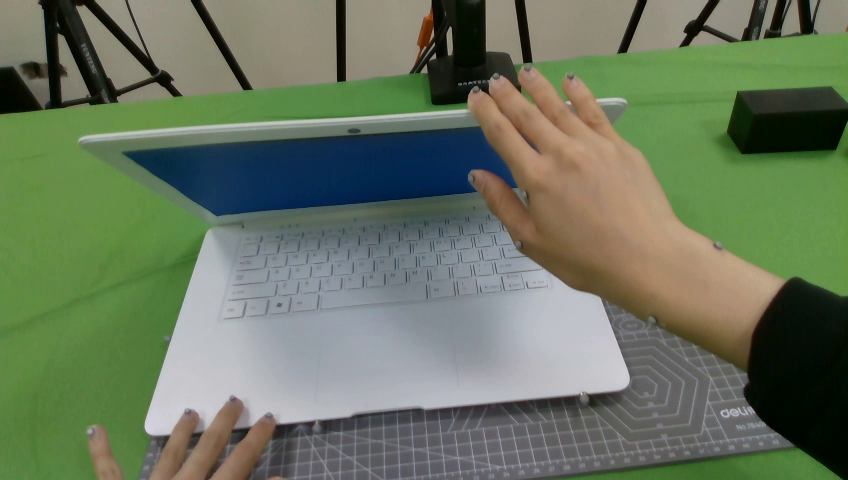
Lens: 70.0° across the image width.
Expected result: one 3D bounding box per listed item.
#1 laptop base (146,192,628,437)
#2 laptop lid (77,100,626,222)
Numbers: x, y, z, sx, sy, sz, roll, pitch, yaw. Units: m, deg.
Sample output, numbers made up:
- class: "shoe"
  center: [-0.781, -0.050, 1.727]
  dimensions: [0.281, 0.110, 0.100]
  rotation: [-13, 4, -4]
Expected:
- class: "laptop base"
  center: [-0.033, 0.051, 0.521]
  dimensions: [0.354, 0.023, 0.233]
  rotation: [-6, 44, 0]
- class: "laptop lid"
  center: [-0.043, -0.054, 0.490]
  dimensions: [0.357, 0.242, 0.013]
  rotation: [-5, 81, 2]
